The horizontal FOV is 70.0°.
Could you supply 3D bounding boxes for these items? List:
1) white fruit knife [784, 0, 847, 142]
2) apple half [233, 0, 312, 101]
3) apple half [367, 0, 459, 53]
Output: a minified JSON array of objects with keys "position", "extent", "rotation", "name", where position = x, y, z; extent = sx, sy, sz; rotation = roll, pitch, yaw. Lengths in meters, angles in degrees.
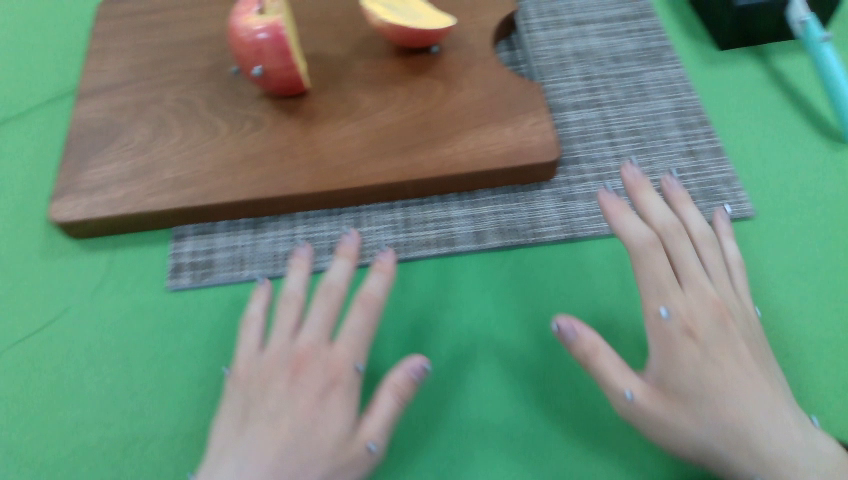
[{"position":[0.329,-0.177,0.515],"extent":[0.016,0.027,0.206],"rotation":[-13,73,0],"name":"white fruit knife"},{"position":[-0.127,-0.154,0.499],"extent":[0.053,0.075,0.080],"rotation":[-15,62,-1],"name":"apple half"},{"position":[-0.014,-0.181,0.527],"extent":[0.081,0.033,0.080],"rotation":[10,39,-8],"name":"apple half"}]
